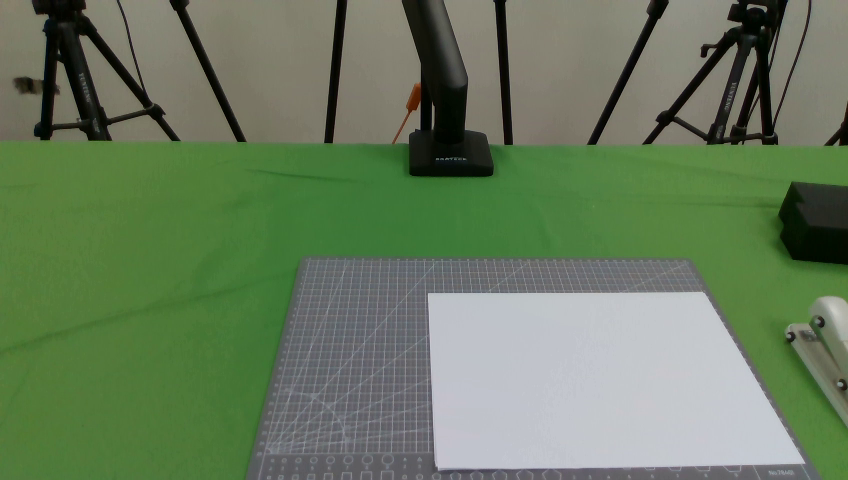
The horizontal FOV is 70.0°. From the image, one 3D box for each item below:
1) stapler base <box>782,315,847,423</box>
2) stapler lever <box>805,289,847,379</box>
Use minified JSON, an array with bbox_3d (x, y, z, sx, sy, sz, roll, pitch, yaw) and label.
[{"bbox_3d":[0.383,0.112,0.563,0.041,0.024,0.129,-2,39,0],"label":"stapler base"},{"bbox_3d":[0.383,0.093,0.546,0.027,0.040,0.117,-2,39,0],"label":"stapler lever"}]
